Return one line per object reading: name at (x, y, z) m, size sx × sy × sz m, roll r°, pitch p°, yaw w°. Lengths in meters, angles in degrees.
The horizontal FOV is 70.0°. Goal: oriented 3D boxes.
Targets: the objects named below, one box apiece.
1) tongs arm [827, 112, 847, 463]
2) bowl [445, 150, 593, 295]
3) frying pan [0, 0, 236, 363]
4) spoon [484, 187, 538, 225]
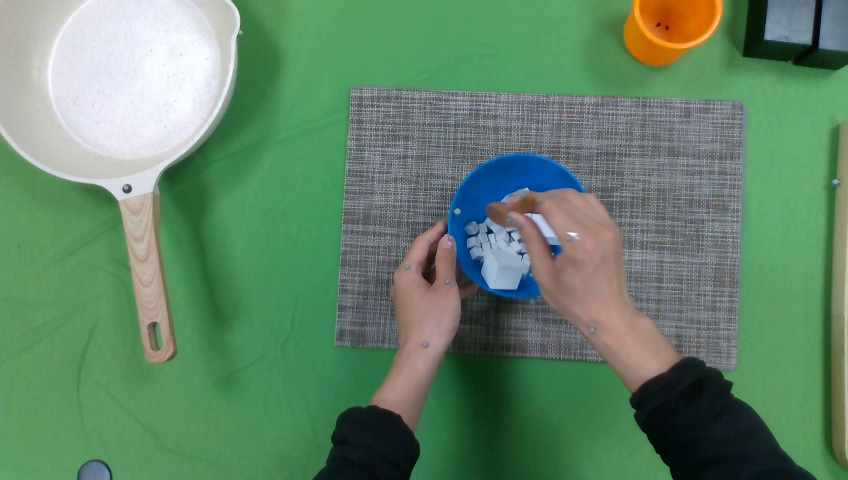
tongs arm at (0.461, 0.053, 0.663) m, size 0.028 × 0.028 × 0.387 m, roll 2°, pitch 87°, yaw 2°
bowl at (0.099, -0.016, 0.653) m, size 0.151 × 0.077 × 0.151 m, roll 0°, pitch 87°, yaw 3°
frying pan at (-0.328, -0.104, 0.670) m, size 0.307 × 0.103 × 0.485 m, roll -14°, pitch 78°, yaw 3°
spoon at (0.082, -0.029, 0.553) m, size 0.041 × 0.193 × 0.021 m, roll 27°, pitch 90°, yaw 0°
